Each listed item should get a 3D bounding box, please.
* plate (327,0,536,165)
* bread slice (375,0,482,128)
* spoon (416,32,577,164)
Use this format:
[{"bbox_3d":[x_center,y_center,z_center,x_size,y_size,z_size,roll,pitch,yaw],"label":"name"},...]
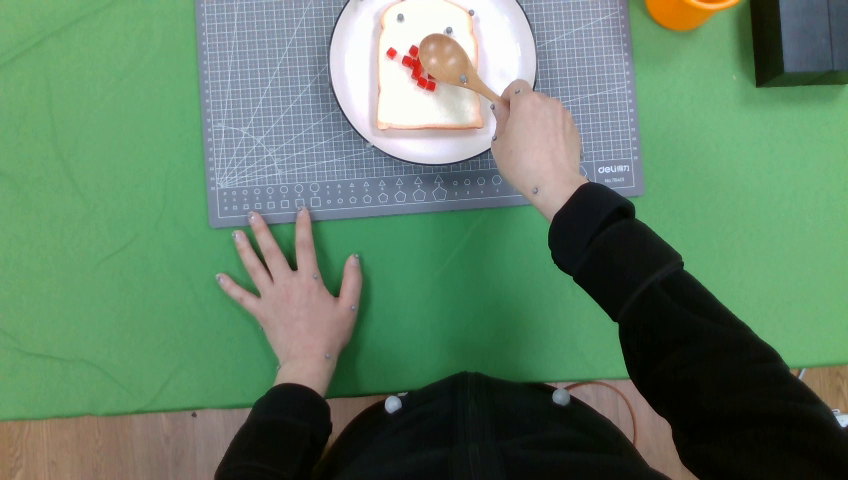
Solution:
[{"bbox_3d":[0.008,-0.177,0.615,0.209,0.038,0.209,0,87,-2],"label":"plate"},{"bbox_3d":[0.000,-0.178,0.616,0.107,0.018,0.134,-4,88,-3],"label":"bread slice"},{"bbox_3d":[0.067,-0.133,0.572,0.192,0.022,0.041,43,93,16],"label":"spoon"}]
